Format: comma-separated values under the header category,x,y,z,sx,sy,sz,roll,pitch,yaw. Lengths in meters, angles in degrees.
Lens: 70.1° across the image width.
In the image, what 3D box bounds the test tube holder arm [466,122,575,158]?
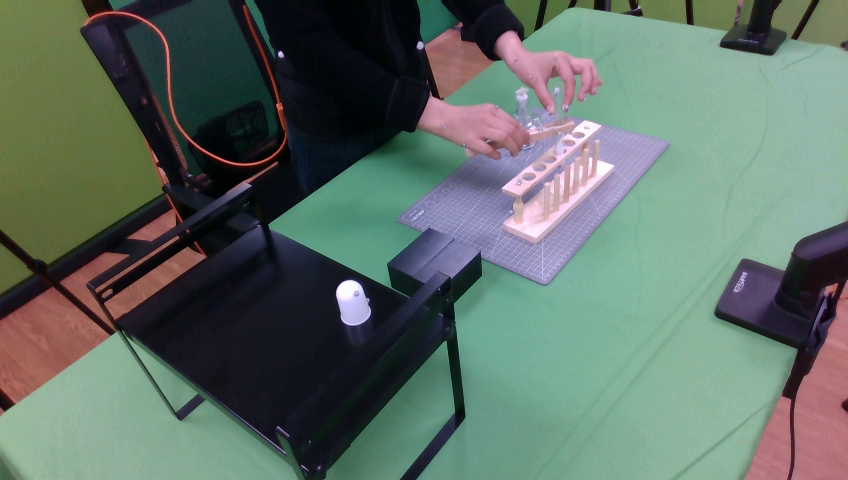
category,x,y,z,sx,sy,sz,roll,pitch,yaw
test tube holder arm,0.152,-0.158,0.948,0.179,0.015,0.013,-16,39,-8

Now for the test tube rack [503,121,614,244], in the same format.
category,x,y,z,sx,sy,sz,roll,pitch,yaw
test tube rack,0.230,-0.101,1.006,0.066,0.085,0.243,26,50,34

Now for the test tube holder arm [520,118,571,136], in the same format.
category,x,y,z,sx,sy,sz,roll,pitch,yaw
test tube holder arm,0.193,-0.174,0.959,0.088,0.015,0.010,-19,40,-12

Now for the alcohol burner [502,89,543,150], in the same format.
category,x,y,z,sx,sy,sz,roll,pitch,yaw
alcohol burner,0.186,-0.233,1.147,0.078,0.119,0.077,-4,42,5

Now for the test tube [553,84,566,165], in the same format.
category,x,y,z,sx,sy,sz,roll,pitch,yaw
test tube,0.216,-0.180,0.960,0.017,0.151,0.017,-7,44,8

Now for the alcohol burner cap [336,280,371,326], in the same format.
category,x,y,z,sx,sy,sz,roll,pitch,yaw
alcohol burner cap,-0.073,0.061,0.619,0.034,0.048,0.033,-4,41,4
